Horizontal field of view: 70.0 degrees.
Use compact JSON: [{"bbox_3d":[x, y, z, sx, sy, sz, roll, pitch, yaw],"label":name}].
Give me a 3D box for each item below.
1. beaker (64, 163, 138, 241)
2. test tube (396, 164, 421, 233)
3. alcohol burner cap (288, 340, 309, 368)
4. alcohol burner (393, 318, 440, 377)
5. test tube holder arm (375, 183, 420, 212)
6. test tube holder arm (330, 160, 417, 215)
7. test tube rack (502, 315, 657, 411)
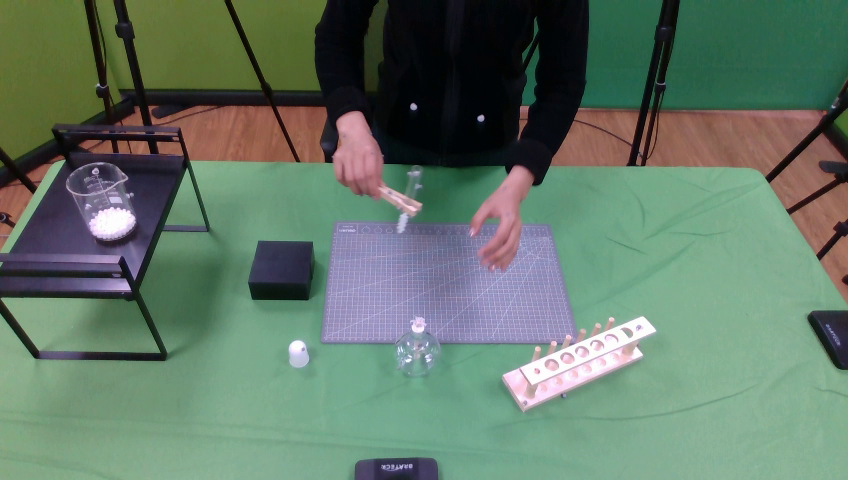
[{"bbox_3d":[-0.477,-0.055,0.910,0.084,0.101,0.073,-9,48,-13],"label":"beaker"},{"bbox_3d":[-0.027,-0.065,1.002,0.017,0.151,0.017,8,46,-8],"label":"test tube"},{"bbox_3d":[-0.207,0.183,0.991,0.034,0.048,0.033,3,47,-3],"label":"alcohol burner cap"},{"bbox_3d":[-0.011,0.166,0.971,0.078,0.120,0.077,1,45,-1],"label":"alcohol burner"},{"bbox_3d":[-0.047,-0.072,1.017,0.087,0.015,0.010,26,39,11],"label":"test tube holder arm"},{"bbox_3d":[-0.087,-0.090,1.024,0.178,0.015,0.013,30,39,16],"label":"test tube holder arm"},{"bbox_3d":[0.253,0.186,0.988,0.242,0.085,0.066,-18,50,-20],"label":"test tube rack"}]
